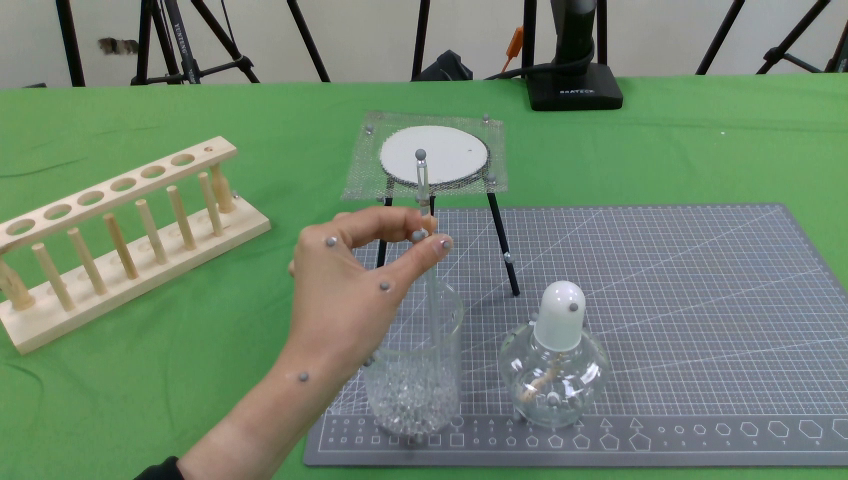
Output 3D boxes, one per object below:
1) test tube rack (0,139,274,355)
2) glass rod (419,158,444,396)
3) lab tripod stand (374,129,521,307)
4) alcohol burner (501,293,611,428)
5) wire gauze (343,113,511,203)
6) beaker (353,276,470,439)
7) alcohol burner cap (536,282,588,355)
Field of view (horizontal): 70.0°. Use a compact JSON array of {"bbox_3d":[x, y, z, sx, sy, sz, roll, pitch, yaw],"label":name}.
[{"bbox_3d":[-0.269,-0.003,0.562,0.242,0.086,0.066,-31,47,-30],"label":"test tube rack"},{"bbox_3d":[0.006,0.036,0.400,0.008,0.201,0.008,-3,36,2],"label":"glass rod"},{"bbox_3d":[0.017,-0.017,0.522,0.148,0.132,0.147,0,39,1],"label":"lab tripod stand"},{"bbox_3d":[0.093,0.076,0.420,0.078,0.120,0.077,-1,42,1],"label":"alcohol burner"},{"bbox_3d":[0.006,-0.068,0.478,0.121,0.011,0.124,2,40,4],"label":"wire gauze"},{"bbox_3d":[-0.009,0.084,0.427,0.074,0.101,0.083,-33,47,-31],"label":"beaker"},{"bbox_3d":[0.092,0.049,0.397,0.034,0.048,0.033,1,41,0],"label":"alcohol burner cap"}]
